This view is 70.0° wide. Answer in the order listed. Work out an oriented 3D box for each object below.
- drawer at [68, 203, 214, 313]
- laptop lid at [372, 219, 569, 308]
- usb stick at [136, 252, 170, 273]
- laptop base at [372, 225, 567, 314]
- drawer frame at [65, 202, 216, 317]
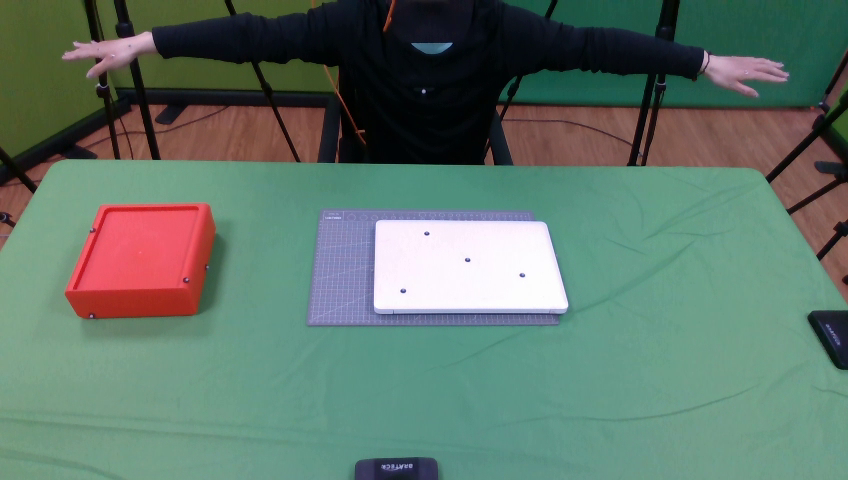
[{"bbox_3d":[-0.499,0.028,1.091,0.195,0.073,0.210,-1,47,-6],"label":"drawer"},{"bbox_3d":[0.081,0.039,1.152,0.357,0.013,0.240,2,44,-3],"label":"laptop lid"},{"bbox_3d":[-0.498,0.040,1.106,0.059,0.027,0.021,11,46,6],"label":"usb stick"},{"bbox_3d":[0.080,0.049,1.158,0.355,0.023,0.234,0,43,-4],"label":"laptop base"},{"bbox_3d":[-0.497,0.029,1.090,0.202,0.083,0.212,-1,47,-6],"label":"drawer frame"}]
